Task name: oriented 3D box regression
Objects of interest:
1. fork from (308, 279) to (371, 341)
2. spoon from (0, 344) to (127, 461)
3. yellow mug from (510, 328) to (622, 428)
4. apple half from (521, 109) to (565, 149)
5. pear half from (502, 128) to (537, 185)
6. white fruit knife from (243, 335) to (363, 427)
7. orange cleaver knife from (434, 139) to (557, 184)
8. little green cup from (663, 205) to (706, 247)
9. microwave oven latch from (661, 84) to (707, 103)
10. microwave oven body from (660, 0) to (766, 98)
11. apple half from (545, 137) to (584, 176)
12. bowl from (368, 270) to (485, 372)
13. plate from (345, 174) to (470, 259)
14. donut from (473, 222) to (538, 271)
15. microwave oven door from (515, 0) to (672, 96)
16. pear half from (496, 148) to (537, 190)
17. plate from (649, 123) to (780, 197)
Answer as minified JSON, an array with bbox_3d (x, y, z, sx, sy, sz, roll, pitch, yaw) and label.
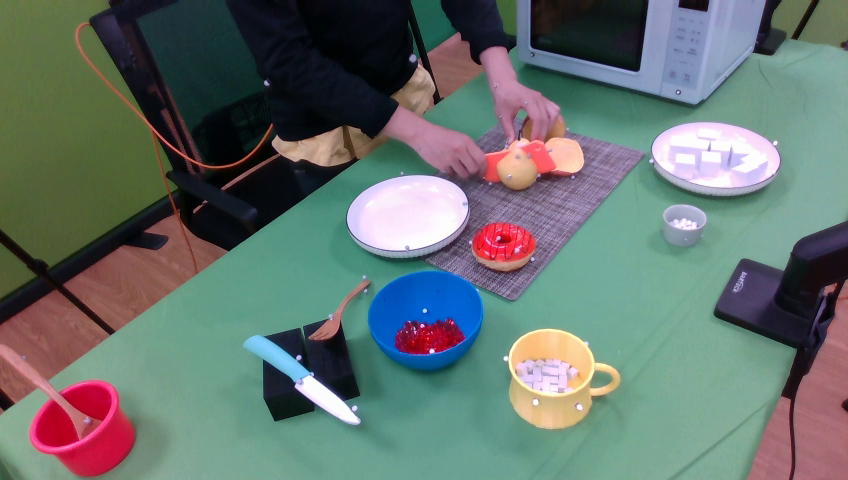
[{"bbox_3d":[-0.109,0.092,0.832,0.028,0.018,0.207,-4,19,15],"label":"fork"},{"bbox_3d":[-0.433,0.191,0.721,0.194,0.021,0.042,47,53,-6],"label":"spoon"},{"bbox_3d":[0.168,0.164,0.722,0.130,0.064,0.099,0,40,8],"label":"yellow mug"},{"bbox_3d":[0.224,-0.213,1.145,0.080,0.075,0.053,-5,36,9],"label":"apple half"},{"bbox_3d":[0.169,-0.152,1.054,0.076,0.110,0.056,5,40,8],"label":"pear half"},{"bbox_3d":[-0.148,0.167,0.729,0.206,0.016,0.027,27,80,31],"label":"white fruit knife"},{"bbox_3d":[0.121,-0.130,1.047,0.210,0.077,0.012,-5,41,22],"label":"orange cleaver knife"},{"bbox_3d":[0.396,-0.020,0.927,0.061,0.039,0.061,-4,40,4],"label":"little green cup"},{"bbox_3d":[0.517,-0.296,1.204,0.078,0.029,0.030,27,52,35],"label":"microwave oven latch"},{"bbox_3d":[0.472,-0.513,1.317,0.438,0.261,0.327,26,51,34],"label":"microwave oven body"},{"bbox_3d":[0.248,-0.146,1.089,0.081,0.033,0.081,-2,64,4],"label":"apple half"},{"bbox_3d":[0.007,0.118,0.791,0.151,0.077,0.150,-5,40,4],"label":"bowl"},{"bbox_3d":[-0.026,-0.037,1.003,0.209,0.038,0.208,-4,40,4],"label":"plate"},{"bbox_3d":[0.123,0.009,0.923,0.099,0.048,0.098,-3,38,3],"label":"donut"},{"bbox_3d":[0.343,-0.455,1.259,0.353,0.245,0.039,26,51,33],"label":"microwave oven door"},{"bbox_3d":[0.158,-0.114,1.031,0.070,0.088,0.031,-1,52,7],"label":"pear half"},{"bbox_3d":[0.497,-0.135,1.046,0.207,0.039,0.206,-4,40,4],"label":"plate"}]
